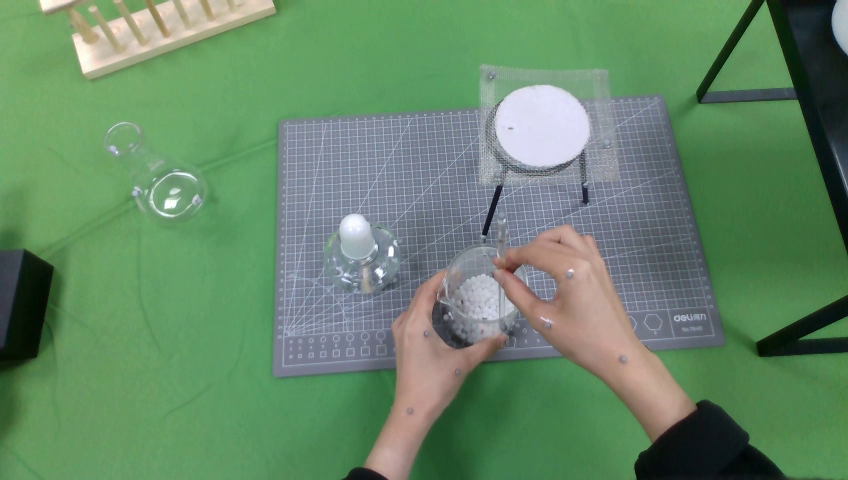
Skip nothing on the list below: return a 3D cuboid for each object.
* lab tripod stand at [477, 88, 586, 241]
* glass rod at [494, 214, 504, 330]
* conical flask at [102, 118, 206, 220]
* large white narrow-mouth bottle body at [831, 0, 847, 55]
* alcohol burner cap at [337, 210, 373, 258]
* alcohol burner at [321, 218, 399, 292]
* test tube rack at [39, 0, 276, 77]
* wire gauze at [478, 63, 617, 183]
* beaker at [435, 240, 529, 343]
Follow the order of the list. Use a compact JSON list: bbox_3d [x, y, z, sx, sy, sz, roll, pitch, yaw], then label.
[{"bbox_3d":[0.103,-0.077,0.605,0.148,0.132,0.147,0,67,0],"label":"lab tripod stand"},{"bbox_3d":[0.063,0.034,0.509,0.008,0.201,0.008,-3,59,5],"label":"glass rod"},{"bbox_3d":[-0.280,-0.076,0.620,0.075,0.123,0.075,0,68,1],"label":"conical flask"},{"bbox_3d":[0.395,-0.215,0.433,0.102,0.196,0.101,0,66,0],"label":"large white narrow-mouth bottle body"},{"bbox_3d":[-0.064,-0.008,0.552,0.034,0.048,0.033,1,61,-1],"label":"alcohol burner cap"},{"bbox_3d":[-0.063,0.007,0.585,0.078,0.120,0.077,0,67,0],"label":"alcohol burner"},{"bbox_3d":[-0.312,-0.287,0.724,0.242,0.086,0.066,-23,70,-8],"label":"test tube rack"},{"bbox_3d":[0.109,-0.107,0.544,0.121,0.011,0.124,2,69,0],"label":"wire gauze"},{"bbox_3d":[0.052,0.055,0.572,0.084,0.101,0.073,-16,67,-4],"label":"beaker"}]
